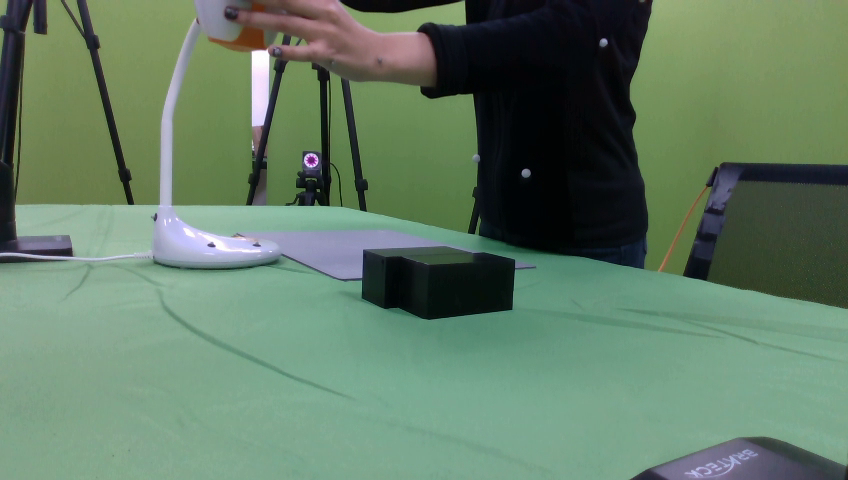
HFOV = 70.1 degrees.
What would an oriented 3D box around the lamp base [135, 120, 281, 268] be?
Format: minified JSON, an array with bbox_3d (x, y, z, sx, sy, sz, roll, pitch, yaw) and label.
[{"bbox_3d":[-0.276,-0.061,0.773,0.180,0.180,0.160,-9,13,-44],"label":"lamp base"}]

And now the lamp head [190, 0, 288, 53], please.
[{"bbox_3d":[-0.189,-0.253,0.607,0.112,0.123,0.112,10,20,-3],"label":"lamp head"}]

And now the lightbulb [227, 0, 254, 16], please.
[{"bbox_3d":[-0.178,-0.278,0.598,0.059,0.107,0.059,9,15,-2],"label":"lightbulb"}]
